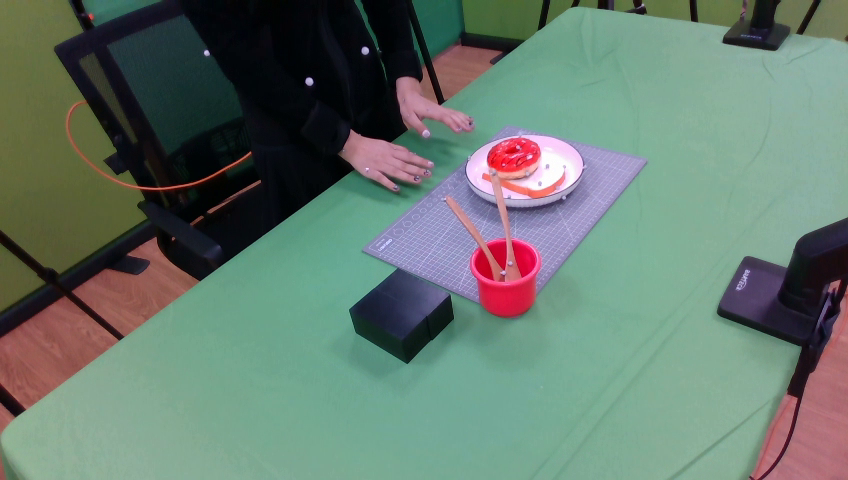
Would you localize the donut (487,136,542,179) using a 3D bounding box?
[{"bbox_3d":[0.159,-0.147,1.068,0.099,0.048,0.098,-9,39,8],"label":"donut"}]

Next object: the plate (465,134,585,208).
[{"bbox_3d":[0.178,-0.120,1.075,0.209,0.038,0.208,-5,40,5],"label":"plate"}]

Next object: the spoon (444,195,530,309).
[{"bbox_3d":[0.087,0.015,0.849,0.042,0.021,0.193,-31,89,-31],"label":"spoon"}]

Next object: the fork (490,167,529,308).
[{"bbox_3d":[0.118,-0.006,0.857,0.028,0.018,0.206,-7,81,-13],"label":"fork"}]

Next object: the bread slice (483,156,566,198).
[{"bbox_3d":[0.187,-0.120,1.077,0.130,0.019,0.105,27,53,37],"label":"bread slice"}]
